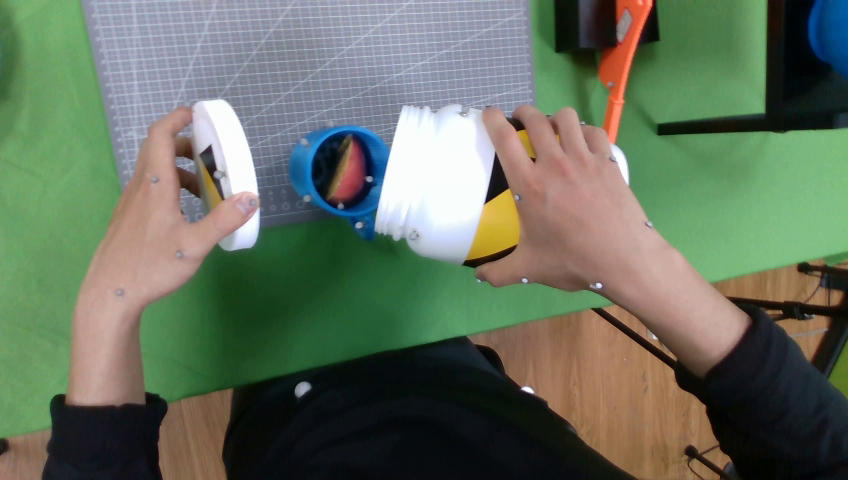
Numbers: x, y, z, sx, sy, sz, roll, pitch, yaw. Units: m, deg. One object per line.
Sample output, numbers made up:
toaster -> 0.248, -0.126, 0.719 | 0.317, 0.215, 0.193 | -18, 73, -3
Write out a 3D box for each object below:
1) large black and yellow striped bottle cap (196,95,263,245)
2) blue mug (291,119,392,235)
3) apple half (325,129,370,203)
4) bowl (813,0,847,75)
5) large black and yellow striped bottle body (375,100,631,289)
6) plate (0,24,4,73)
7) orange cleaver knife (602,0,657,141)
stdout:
large black and yellow striped bottle cap -> -0.152, -0.053, 0.466 | 0.019, 0.114, 0.115 | -13, 104, -30
blue mug -> -0.075, -0.059, 0.593 | 0.082, 0.105, 0.117 | -25, 107, -15
apple half -> -0.069, -0.068, 0.589 | 0.033, 0.081, 0.081 | 24, 90, -15
bowl -> 0.442, -0.217, 0.590 | 0.152, 0.076, 0.152 | -4, 101, -20
large black and yellow striped bottle body -> 0.061, -0.041, 0.506 | 0.184, 0.130, 0.131 | 14, 94, -3
plate -> -0.447, -0.165, 0.470 | 0.210, 0.038, 0.209 | -4, 101, -20
orange cleaver knife -> 0.226, -0.202, 0.700 | 0.012, 0.076, 0.213 | -6, 128, -11
